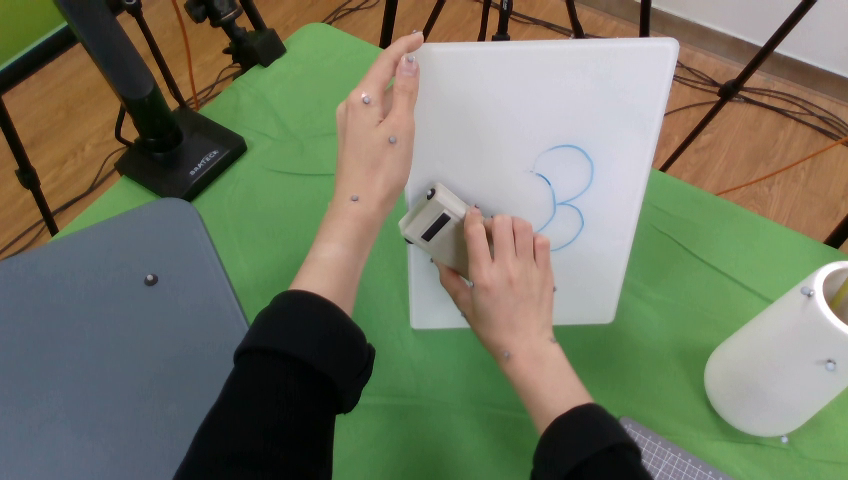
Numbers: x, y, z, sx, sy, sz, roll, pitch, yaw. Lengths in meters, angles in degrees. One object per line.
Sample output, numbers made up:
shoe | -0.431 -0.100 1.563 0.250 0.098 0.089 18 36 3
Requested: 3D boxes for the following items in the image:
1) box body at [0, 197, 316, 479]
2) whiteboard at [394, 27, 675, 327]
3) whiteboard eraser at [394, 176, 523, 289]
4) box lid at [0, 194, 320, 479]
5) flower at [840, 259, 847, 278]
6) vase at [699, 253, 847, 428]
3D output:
box body | -0.236 0.178 0.486 0.254 0.162 0.360 -26 61 -15
whiteboard | 0.086 -0.075 0.602 0.217 0.308 0.142 -2 38 -1
whiteboard eraser | 0.032 -0.006 0.544 0.113 0.055 0.041 34 25 -24
box lid | -0.237 0.136 0.424 0.263 0.015 0.368 -25 61 -16
flower | 0.317 0.032 0.463 0.044 0.364 0.038 22 43 17
vase | 0.316 0.090 0.524 0.098 0.202 0.097 0 56 1
